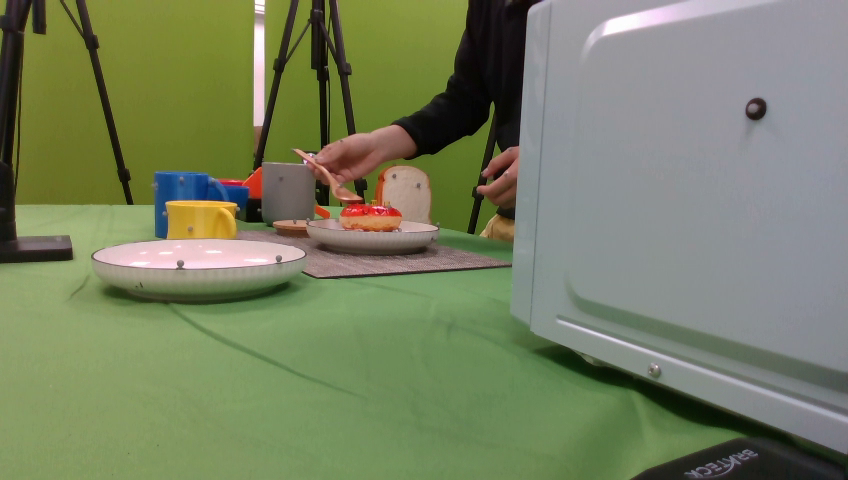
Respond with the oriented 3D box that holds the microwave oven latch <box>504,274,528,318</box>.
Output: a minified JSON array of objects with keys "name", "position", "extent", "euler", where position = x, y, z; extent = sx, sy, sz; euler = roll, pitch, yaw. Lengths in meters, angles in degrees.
[{"name":"microwave oven latch","position":[0.100,0.041,0.471],"extent":[0.079,0.029,0.030],"euler":[-1,8,-28]}]

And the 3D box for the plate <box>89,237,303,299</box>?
[{"name":"plate","position":[-0.233,0.029,0.637],"extent":[0.208,0.039,0.207],"euler":[2,7,0]}]

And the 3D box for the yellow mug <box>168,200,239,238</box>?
[{"name":"yellow mug","position":[-0.320,-0.023,0.904],"extent":[0.130,0.064,0.100],"euler":[9,10,36]}]

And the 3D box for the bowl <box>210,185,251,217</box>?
[{"name":"bowl","position":[-0.408,-0.064,1.155],"extent":[0.151,0.077,0.151],"euler":[2,8,0]}]

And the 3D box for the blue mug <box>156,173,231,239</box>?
[{"name":"blue mug","position":[-0.381,-0.057,1.004],"extent":[0.117,0.106,0.082],"euler":[0,8,-12]}]

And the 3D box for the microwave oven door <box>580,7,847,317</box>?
[{"name":"microwave oven door","position":[0.295,-0.067,0.570],"extent":[0.358,0.243,0.039],"euler":[-3,8,-31]}]

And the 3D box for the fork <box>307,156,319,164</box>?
[{"name":"fork","position":[-0.331,-0.144,1.505],"extent":[0.207,0.018,0.028],"euler":[-42,-20,22]}]

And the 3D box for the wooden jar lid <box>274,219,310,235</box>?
[{"name":"wooden jar lid","position":[-0.213,-0.023,1.080],"extent":[0.108,0.020,0.108],"euler":[3,7,0]}]

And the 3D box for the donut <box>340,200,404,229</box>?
[{"name":"donut","position":[-0.081,-0.038,0.944],"extent":[0.099,0.048,0.099],"euler":[1,6,0]}]

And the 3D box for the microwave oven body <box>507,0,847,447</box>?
[{"name":"microwave oven body","position":[0.331,-0.042,0.425],"extent":[0.444,0.260,0.324],"euler":[-2,8,-31]}]

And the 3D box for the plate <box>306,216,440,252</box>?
[{"name":"plate","position":[-0.079,-0.011,0.950],"extent":[0.209,0.038,0.209],"euler":[2,8,0]}]

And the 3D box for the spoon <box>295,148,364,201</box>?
[{"name":"spoon","position":[-0.162,-0.111,1.004],"extent":[0.042,0.021,0.193],"euler":[-9,40,-41]}]

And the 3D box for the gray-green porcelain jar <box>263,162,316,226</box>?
[{"name":"gray-green porcelain jar","position":[-0.271,-0.092,1.217],"extent":[0.106,0.126,0.106],"euler":[2,7,0]}]

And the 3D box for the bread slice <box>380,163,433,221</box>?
[{"name":"bread slice","position":[-0.035,-0.076,1.125],"extent":[0.107,0.134,0.018],"euler":[-4,2,-25]}]

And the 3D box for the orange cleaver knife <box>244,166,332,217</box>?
[{"name":"orange cleaver knife","position":[-0.301,-0.089,1.351],"extent":[0.212,0.077,0.012],"euler":[32,-11,-34]}]

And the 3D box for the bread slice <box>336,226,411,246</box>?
[{"name":"bread slice","position":[-0.074,-0.008,0.938],"extent":[0.105,0.019,0.131],"euler":[-1,8,-18]}]
